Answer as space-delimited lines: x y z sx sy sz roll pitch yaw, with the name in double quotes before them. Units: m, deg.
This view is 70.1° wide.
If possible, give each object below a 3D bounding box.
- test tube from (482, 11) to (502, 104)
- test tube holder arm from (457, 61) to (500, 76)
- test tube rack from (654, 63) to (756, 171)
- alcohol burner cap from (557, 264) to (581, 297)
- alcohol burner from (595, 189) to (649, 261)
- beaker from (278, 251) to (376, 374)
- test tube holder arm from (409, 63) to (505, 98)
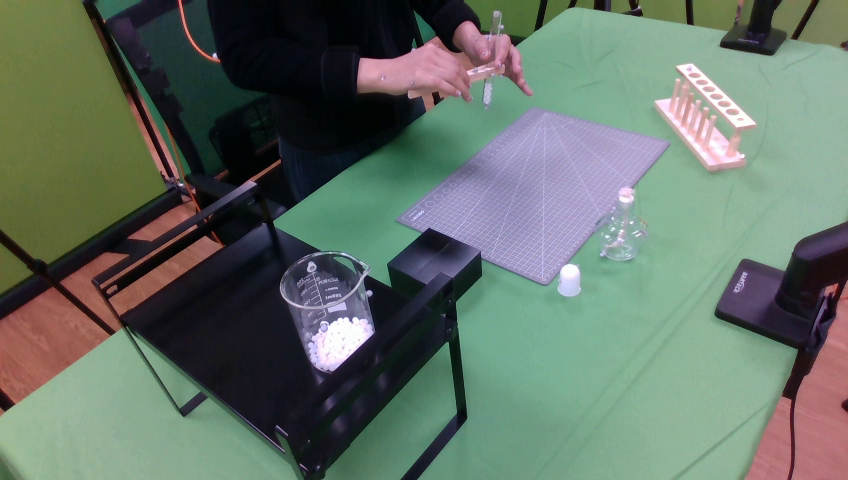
"test tube" 0.110 -0.292 0.978 0.017 0.150 0.017 3 34 -2
"test tube holder arm" 0.088 -0.272 0.980 0.088 0.015 0.010 -27 40 -30
"test tube rack" 0.510 -0.233 1.120 0.067 0.085 0.241 -8 41 -1
"alcohol burner cap" 0.208 0.055 0.866 0.034 0.048 0.033 -4 41 4
"alcohol burner" 0.294 -0.028 0.894 0.078 0.119 0.077 -4 43 4
"beaker" -0.084 0.070 0.569 0.084 0.101 0.073 -18 42 -13
"test tube holder arm" 0.055 -0.253 0.955 0.179 0.015 0.013 -23 37 -25
